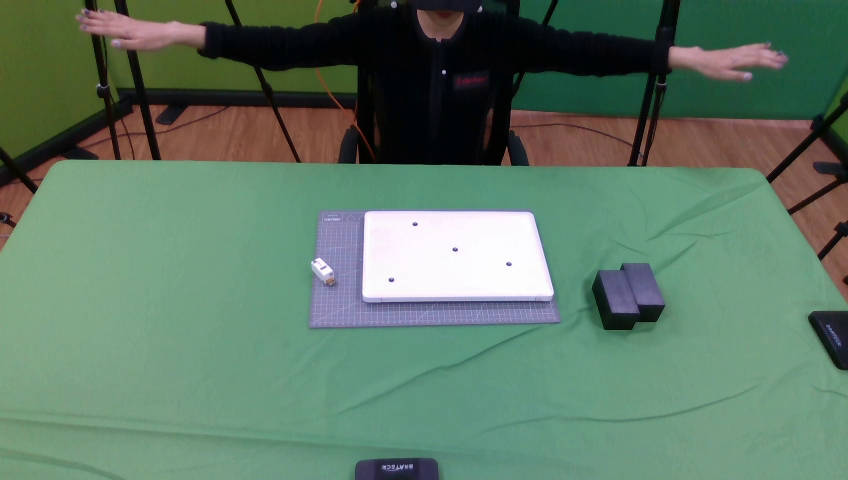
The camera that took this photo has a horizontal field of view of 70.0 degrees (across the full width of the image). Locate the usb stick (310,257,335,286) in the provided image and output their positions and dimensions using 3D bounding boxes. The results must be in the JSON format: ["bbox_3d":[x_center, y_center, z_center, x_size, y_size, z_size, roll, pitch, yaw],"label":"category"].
[{"bbox_3d":[-0.185,0.060,1.119,0.021,0.027,0.059,-30,57,-28],"label":"usb stick"}]

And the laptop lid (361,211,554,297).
[{"bbox_3d":[0.058,0.020,1.169,0.357,0.013,0.240,1,44,-3],"label":"laptop lid"}]

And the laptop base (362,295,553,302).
[{"bbox_3d":[0.058,0.030,1.175,0.355,0.023,0.234,0,43,-4],"label":"laptop base"}]
